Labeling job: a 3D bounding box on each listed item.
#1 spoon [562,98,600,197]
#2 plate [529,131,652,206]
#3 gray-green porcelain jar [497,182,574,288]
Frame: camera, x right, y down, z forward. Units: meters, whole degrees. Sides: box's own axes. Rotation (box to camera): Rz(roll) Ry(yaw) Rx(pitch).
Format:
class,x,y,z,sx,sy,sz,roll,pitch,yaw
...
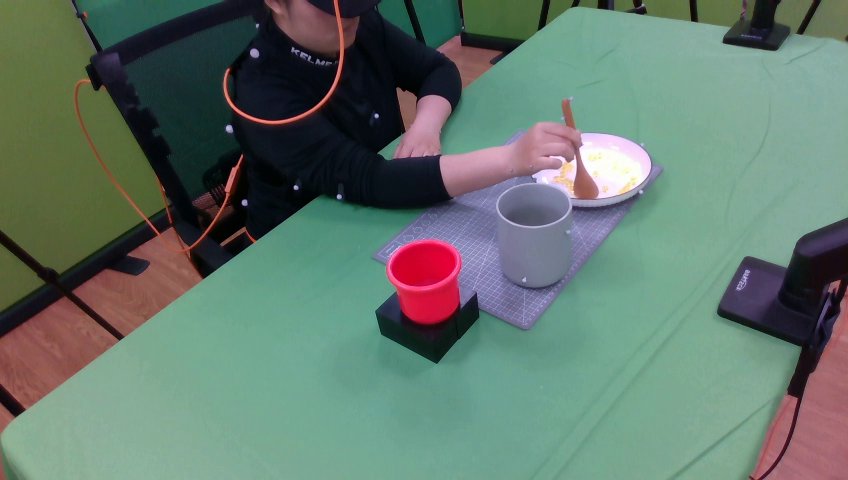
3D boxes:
class,x,y,z,sx,sy,sz,roll,pitch,yaw
spoon,0.241,-0.137,0.950,0.041,0.195,0.021,-5,35,28
plate,0.287,-0.121,1.056,0.207,0.039,0.206,-5,40,5
gray-green porcelain jar,0.160,-0.003,0.869,0.106,0.127,0.105,-5,40,5
